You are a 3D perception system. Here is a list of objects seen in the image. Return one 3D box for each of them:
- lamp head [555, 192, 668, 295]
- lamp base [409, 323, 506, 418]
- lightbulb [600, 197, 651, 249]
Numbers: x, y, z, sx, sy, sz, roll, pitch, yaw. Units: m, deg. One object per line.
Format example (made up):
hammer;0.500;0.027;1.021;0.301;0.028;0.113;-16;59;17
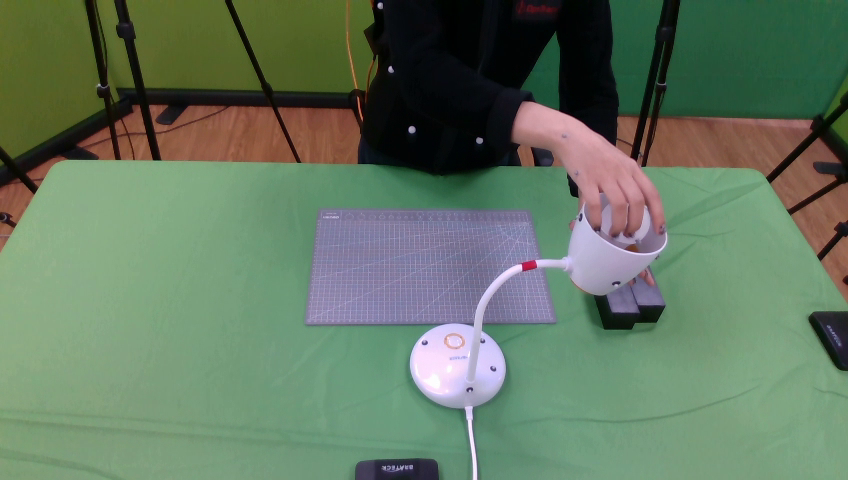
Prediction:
lamp head;0.235;0.015;0.793;0.113;0.123;0.111;13;43;-13
lamp base;0.063;0.161;0.940;0.161;0.181;0.178;-10;51;-13
lightbulb;0.248;-0.007;0.778;0.059;0.108;0.059;9;44;-8
